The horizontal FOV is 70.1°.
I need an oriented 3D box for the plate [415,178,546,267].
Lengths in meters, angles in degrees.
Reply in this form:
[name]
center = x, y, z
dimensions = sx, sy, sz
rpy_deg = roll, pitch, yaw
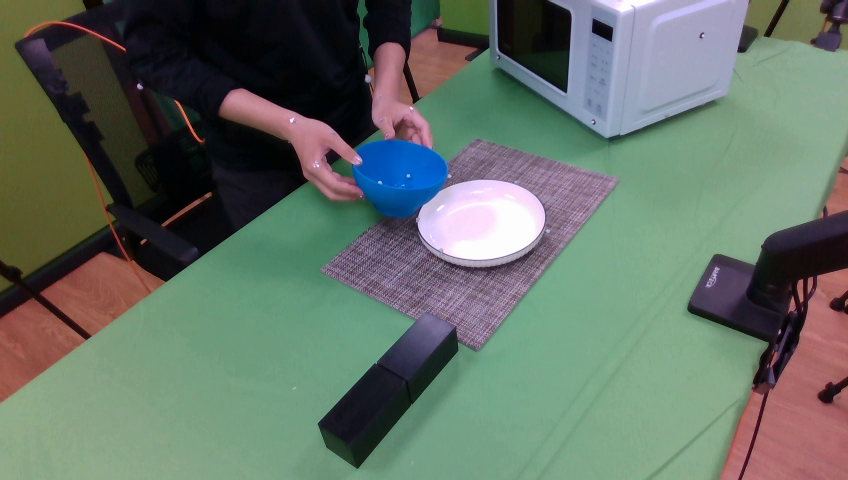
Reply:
[plate]
center = 0.091, -0.026, 0.970
dimensions = 0.207, 0.039, 0.206
rpy_deg = -4, 41, 4

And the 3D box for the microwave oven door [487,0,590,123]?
[microwave oven door]
center = 0.232, -0.420, 1.231
dimensions = 0.039, 0.245, 0.352
rpy_deg = -22, 43, -16

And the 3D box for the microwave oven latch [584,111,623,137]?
[microwave oven latch]
center = 0.337, -0.222, 1.142
dimensions = 0.030, 0.029, 0.078
rpy_deg = -21, 42, -14

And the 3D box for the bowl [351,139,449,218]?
[bowl]
center = -0.041, -0.088, 0.947
dimensions = 0.152, 0.077, 0.150
rpy_deg = 7, 36, -5

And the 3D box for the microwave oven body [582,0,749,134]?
[microwave oven body]
center = 0.382, -0.444, 1.246
dimensions = 0.327, 0.261, 0.437
rpy_deg = -22, 42, -16
